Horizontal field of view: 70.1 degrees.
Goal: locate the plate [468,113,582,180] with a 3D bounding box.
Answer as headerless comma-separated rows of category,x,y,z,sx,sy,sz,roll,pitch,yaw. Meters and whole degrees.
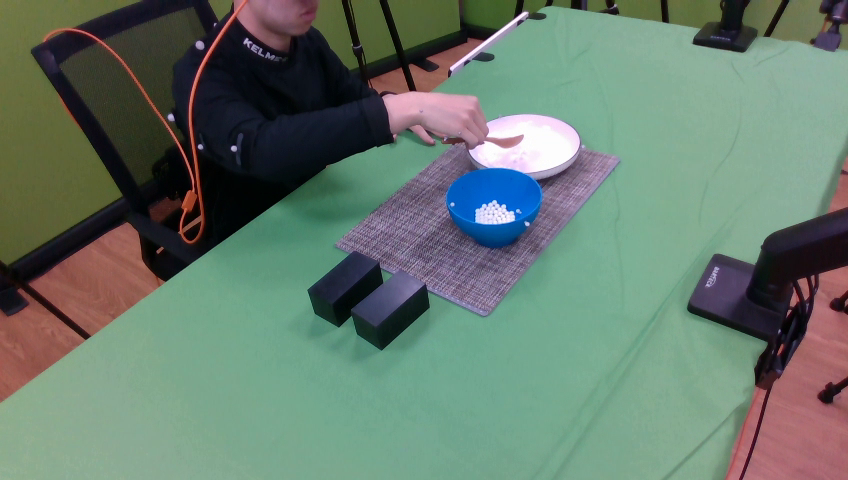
plate,0.186,-0.169,1.122,0.207,0.039,0.206,-4,41,4

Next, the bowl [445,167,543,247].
bowl,0.111,-0.042,0.952,0.151,0.077,0.150,-4,41,4

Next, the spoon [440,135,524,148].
spoon,0.102,-0.173,1.049,0.195,0.041,0.021,-4,78,-37
